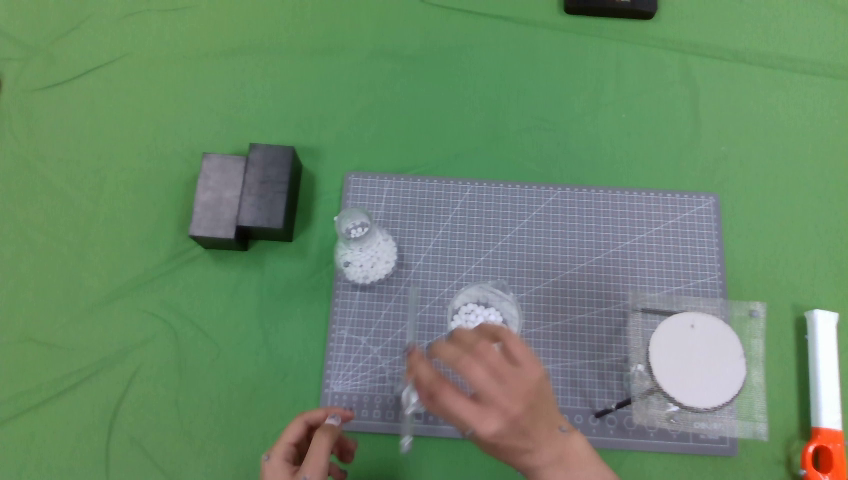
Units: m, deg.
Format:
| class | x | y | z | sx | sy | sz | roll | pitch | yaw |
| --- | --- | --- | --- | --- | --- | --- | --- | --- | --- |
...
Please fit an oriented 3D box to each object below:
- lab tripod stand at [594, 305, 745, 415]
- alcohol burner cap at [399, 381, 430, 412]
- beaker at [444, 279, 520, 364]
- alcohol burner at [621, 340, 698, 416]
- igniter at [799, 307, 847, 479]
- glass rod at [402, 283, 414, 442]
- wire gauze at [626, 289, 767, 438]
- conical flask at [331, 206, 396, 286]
| class | x | y | z | sx | sy | sz | roll | pitch | yaw |
| --- | --- | --- | --- | --- | --- | --- | --- | --- | --- |
| lab tripod stand | 0.242 | 0.128 | 0.605 | 0.148 | 0.132 | 0.147 | 0 | 75 | 0 |
| alcohol burner cap | -0.010 | 0.165 | 0.641 | 0.034 | 0.048 | 0.033 | 0 | 74 | 0 |
| beaker | 0.058 | 0.088 | 0.634 | 0.074 | 0.101 | 0.083 | 26 | 74 | 7 |
| alcohol burner | 0.243 | 0.138 | 0.613 | 0.078 | 0.120 | 0.077 | -1 | 74 | 2 |
| igniter | 0.423 | 0.208 | 0.642 | 0.057 | 0.025 | 0.275 | 11 | 74 | -9 |
| glass rod | -0.012 | 0.086 | 0.483 | 0.008 | 0.198 | 0.008 | 0 | 117 | -1 |
| wire gauze | 0.243 | 0.107 | 0.541 | 0.125 | 0.011 | 0.121 | 6 | 75 | 2 |
| conical flask | -0.069 | 0.001 | 0.645 | 0.075 | 0.122 | 0.075 | 0 | 73 | 0 |
